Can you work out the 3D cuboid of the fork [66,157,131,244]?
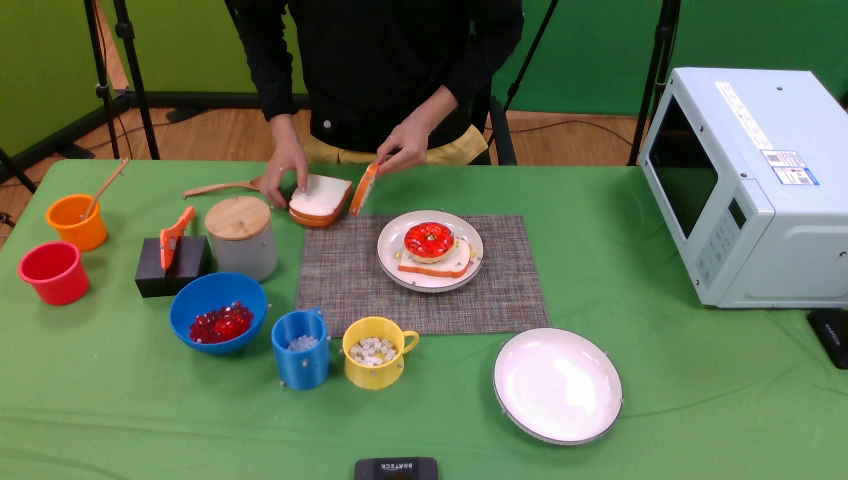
[{"bbox_3d":[-0.608,-0.074,1.132,0.207,0.019,0.028,-52,48,10],"label":"fork"}]

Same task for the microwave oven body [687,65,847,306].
[{"bbox_3d":[0.669,-0.111,1.176,0.326,0.261,0.439,0,46,-3],"label":"microwave oven body"}]

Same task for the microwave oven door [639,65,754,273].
[{"bbox_3d":[0.522,-0.147,1.192,0.039,0.245,0.353,0,47,-3],"label":"microwave oven door"}]

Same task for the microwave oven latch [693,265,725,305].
[{"bbox_3d":[0.522,0.081,1.115,0.030,0.029,0.078,2,46,-1],"label":"microwave oven latch"}]

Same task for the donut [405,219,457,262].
[{"bbox_3d":[0.012,0.000,1.140,0.099,0.048,0.098,0,44,0],"label":"donut"}]

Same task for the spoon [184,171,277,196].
[{"bbox_3d":[-0.406,-0.117,1.274,0.194,0.022,0.041,-8,64,-12],"label":"spoon"}]

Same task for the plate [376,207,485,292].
[{"bbox_3d":[0.012,0.021,1.158,0.209,0.038,0.208,2,47,-2],"label":"plate"}]

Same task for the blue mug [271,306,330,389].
[{"bbox_3d":[-0.188,0.163,0.969,0.082,0.106,0.116,15,47,10],"label":"blue mug"}]

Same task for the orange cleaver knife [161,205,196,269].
[{"bbox_3d":[-0.454,-0.010,1.129,0.012,0.077,0.210,-1,20,-5],"label":"orange cleaver knife"}]

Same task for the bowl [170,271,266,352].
[{"bbox_3d":[-0.334,0.132,1.006,0.151,0.077,0.150,2,46,-2],"label":"bowl"}]

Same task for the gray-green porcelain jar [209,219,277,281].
[{"bbox_3d":[-0.323,0.007,1.092,0.106,0.127,0.105,2,46,-2],"label":"gray-green porcelain jar"}]

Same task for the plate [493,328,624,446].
[{"bbox_3d":[0.213,0.236,0.974,0.208,0.039,0.206,2,46,-2],"label":"plate"}]

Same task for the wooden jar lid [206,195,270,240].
[{"bbox_3d":[-0.319,-0.036,1.046,0.108,0.021,0.107,1,44,0],"label":"wooden jar lid"}]

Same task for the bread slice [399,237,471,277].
[{"bbox_3d":[0.025,0.025,1.160,0.131,0.019,0.104,6,47,7],"label":"bread slice"}]

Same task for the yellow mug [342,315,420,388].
[{"bbox_3d":[-0.068,0.177,0.990,0.131,0.064,0.099,-16,50,-19],"label":"yellow mug"}]

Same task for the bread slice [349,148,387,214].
[{"bbox_3d":[-0.110,-0.108,1.171,0.018,0.107,0.134,23,34,-1],"label":"bread slice"}]
